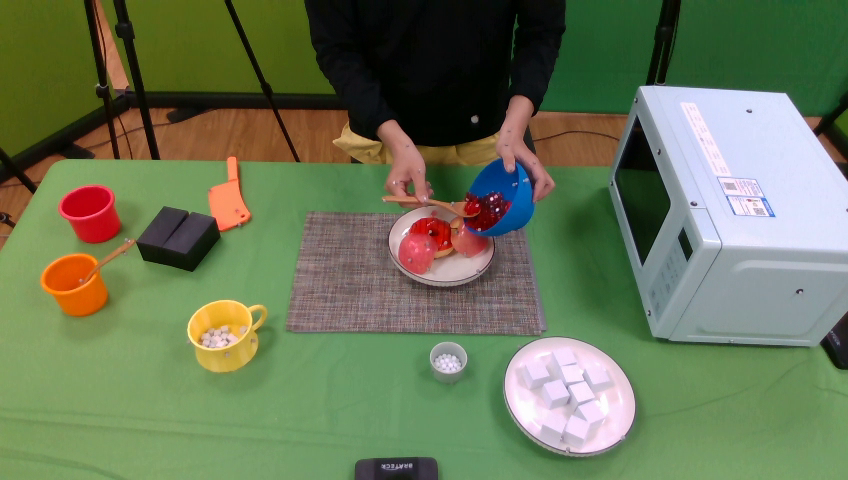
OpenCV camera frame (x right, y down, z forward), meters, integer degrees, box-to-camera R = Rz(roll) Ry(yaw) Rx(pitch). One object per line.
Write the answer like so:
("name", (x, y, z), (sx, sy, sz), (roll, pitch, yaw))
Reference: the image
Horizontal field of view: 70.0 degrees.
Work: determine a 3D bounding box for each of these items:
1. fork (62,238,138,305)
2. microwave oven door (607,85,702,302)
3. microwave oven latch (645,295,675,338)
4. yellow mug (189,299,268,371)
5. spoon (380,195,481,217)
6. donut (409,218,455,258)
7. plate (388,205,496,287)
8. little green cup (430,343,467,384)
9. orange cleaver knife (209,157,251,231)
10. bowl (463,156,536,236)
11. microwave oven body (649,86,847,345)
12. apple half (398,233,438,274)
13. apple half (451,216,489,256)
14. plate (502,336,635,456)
("fork", (-0.547, 0.053, 1.018), (0.207, 0.019, 0.028), (-36, 41, 23))
("microwave oven door", (0.423, -0.094, 1.141), (0.039, 0.245, 0.353), (2, 46, -1))
("microwave oven latch", (0.412, 0.134, 1.061), (0.030, 0.029, 0.078), (3, 45, 0))
("yellow mug", (-0.316, 0.148, 1.002), (0.131, 0.064, 0.099), (-33, 56, -31))
("spoon", (0.013, -0.066, 1.077), (0.194, 0.022, 0.041), (9, 43, -26))
("donut", (0.019, -0.005, 1.174), (0.099, 0.048, 0.098), (4, 41, -3))
("plate", (0.033, 0.014, 1.171), (0.209, 0.038, 0.208), (2, 46, -2))
("little green cup", (0.039, 0.203, 0.993), (0.061, 0.039, 0.061), (2, 46, -2))
("orange cleaver knife", (-0.409, -0.099, 1.266), (0.077, 0.012, 0.210), (-14, 50, -10))
("bowl", (0.148, -0.066, 1.088), (0.077, 0.151, 0.150), (25, 38, -29))
("microwave oven body", (0.568, -0.053, 1.118), (0.326, 0.261, 0.439), (2, 45, -1))
("apple half", (-0.016, 0.022, 1.123), (0.081, 0.033, 0.081), (-2, 83, 14))
("apple half", (0.093, -0.013, 1.158), (0.075, 0.053, 0.080), (35, 40, -28))
("plate", (0.225, 0.248, 0.964), (0.208, 0.039, 0.206), (2, 46, -2))
